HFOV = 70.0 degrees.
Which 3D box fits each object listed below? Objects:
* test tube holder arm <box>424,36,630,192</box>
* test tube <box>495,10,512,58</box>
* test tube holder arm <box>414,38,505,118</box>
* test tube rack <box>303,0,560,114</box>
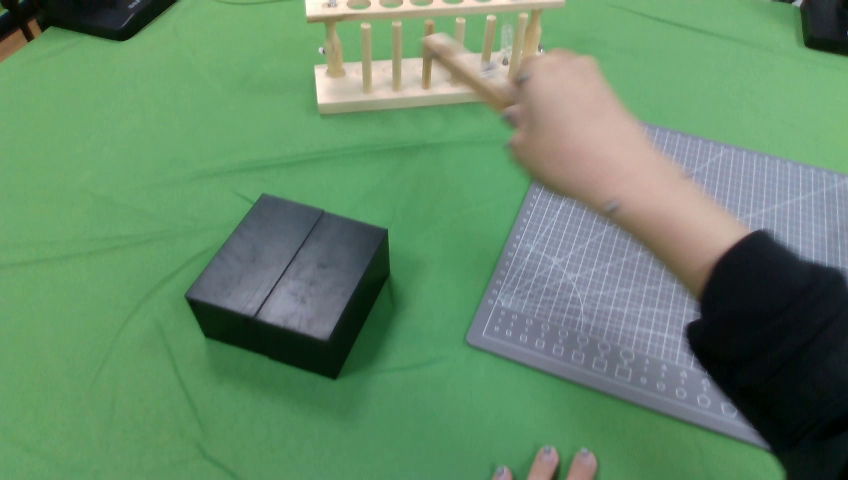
[{"bbox_3d":[0.059,-0.086,0.392,0.013,0.015,0.177,-35,61,-27],"label":"test tube holder arm"},{"bbox_3d":[0.077,-0.243,0.575,0.017,0.151,0.017,-2,47,3],"label":"test tube"},{"bbox_3d":[0.025,-0.110,0.409,0.010,0.015,0.087,-34,61,-26],"label":"test tube holder arm"},{"bbox_3d":[0.010,-0.187,0.592,0.243,0.086,0.066,-7,50,-7],"label":"test tube rack"}]
